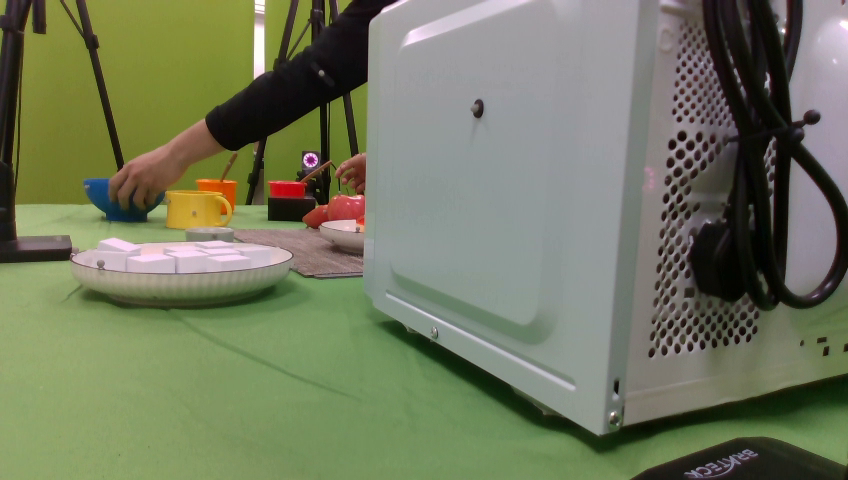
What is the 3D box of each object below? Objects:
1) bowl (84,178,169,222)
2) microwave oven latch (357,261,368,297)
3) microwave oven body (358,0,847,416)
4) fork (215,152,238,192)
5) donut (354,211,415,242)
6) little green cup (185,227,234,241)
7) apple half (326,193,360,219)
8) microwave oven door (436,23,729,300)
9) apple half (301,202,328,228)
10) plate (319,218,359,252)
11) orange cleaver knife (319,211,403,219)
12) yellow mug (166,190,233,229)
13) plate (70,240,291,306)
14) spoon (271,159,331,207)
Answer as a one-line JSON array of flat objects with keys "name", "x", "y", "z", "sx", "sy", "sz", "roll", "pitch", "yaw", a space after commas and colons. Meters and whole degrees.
[{"name": "bowl", "x": -0.585, "y": -0.078, "z": 1.194, "sx": 0.151, "sy": 0.077, "sz": 0.151, "roll": 4, "pitch": 8, "yaw": 0}, {"name": "microwave oven latch", "x": -0.019, "y": 0.033, "z": 0.531, "sx": 0.079, "sy": 0.029, "sz": 0.030, "roll": -1, "pitch": 7, "yaw": -28}, {"name": "microwave oven body", "x": 0.211, "y": -0.047, "z": 0.474, "sx": 0.444, "sy": 0.260, "sz": 0.324, "roll": -1, "pitch": 7, "yaw": -28}, {"name": "fork", "x": -0.455, "y": -0.132, "z": 1.367, "sx": 0.028, "sy": 0.018, "sz": 0.207, "roll": -2, "pitch": -35, "yaw": -37}, {"name": "donut", "x": -0.062, "y": -0.020, "z": 0.956, "sx": 0.099, "sy": 0.048, "sz": 0.099, "roll": 5, "pitch": 7, "yaw": 0}, {"name": "little green cup", "x": -0.285, "y": 0.005, "z": 0.805, "sx": 0.061, "sy": 0.038, "sz": 0.061, "roll": 2, "pitch": 8, "yaw": 0}, {"name": "apple half", "x": -0.136, "y": -0.047, "z": 1.090, "sx": 0.081, "sy": 0.074, "sz": 0.053, "roll": 5, "pitch": 10, "yaw": -13}, {"name": "microwave oven door", "x": 0.180, "y": -0.072, "z": 0.621, "sx": 0.358, "sy": 0.243, "sz": 0.039, "roll": -2, "pitch": 9, "yaw": -29}, {"name": "apple half", "x": -0.195, "y": -0.043, "z": 1.173, "sx": 0.081, "sy": 0.032, "sz": 0.081, "roll": -22, "pitch": -16, "yaw": -6}, {"name": "plate", "x": -0.059, "y": -0.007, "z": 0.939, "sx": 0.209, "sy": 0.038, "sz": 0.209, "roll": 3, "pitch": 7, "yaw": 0}, {"name": "orange cleaver knife", "x": -0.142, "y": -0.056, "z": 1.394, "sx": 0.077, "sy": 0.012, "sz": 0.212, "roll": 2, "pitch": 6, "yaw": 45}, {"name": "yellow mug", "x": -0.415, "y": -0.057, "z": 1.131, "sx": 0.130, "sy": 0.064, "sz": 0.100, "roll": 5, "pitch": 7, "yaw": 16}, {"name": "plate", "x": -0.242, "y": 0.032, "z": 0.618, "sx": 0.208, "sy": 0.039, "sz": 0.207, "roll": 3, "pitch": 8, "yaw": 0}, {"name": "spoon", "x": -0.307, "y": -0.141, "z": 1.513, "sx": 0.193, "sy": 0.021, "sz": 0.041, "roll": -42, "pitch": 3, "yaw": 8}]
